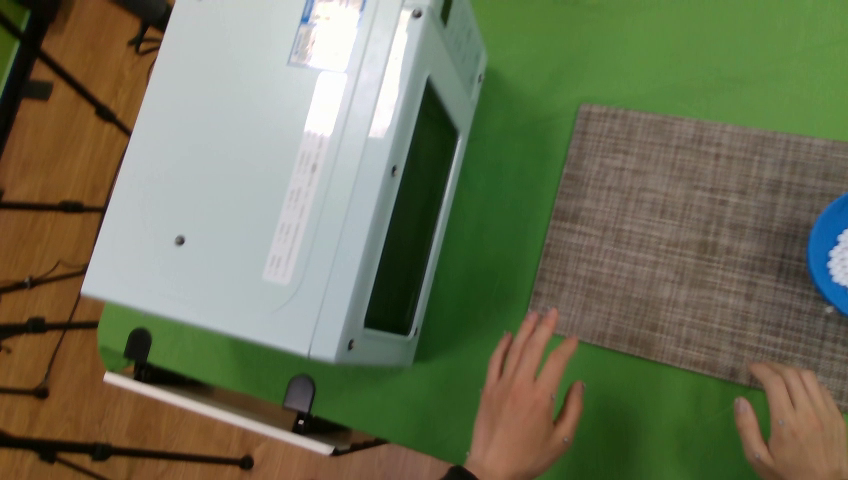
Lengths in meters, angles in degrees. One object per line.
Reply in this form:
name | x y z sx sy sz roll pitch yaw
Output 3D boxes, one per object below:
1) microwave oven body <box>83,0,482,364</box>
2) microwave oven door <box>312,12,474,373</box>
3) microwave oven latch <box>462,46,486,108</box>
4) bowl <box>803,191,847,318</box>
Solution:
microwave oven body | -0.146 -0.096 0.732 0.324 0.262 0.440 11 82 17
microwave oven door | -0.021 -0.030 0.678 0.039 0.245 0.354 11 81 18
microwave oven latch | 0.061 -0.218 0.803 0.030 0.030 0.079 11 82 17
bowl | 0.471 0.023 0.632 0.151 0.077 0.150 -3 77 15
